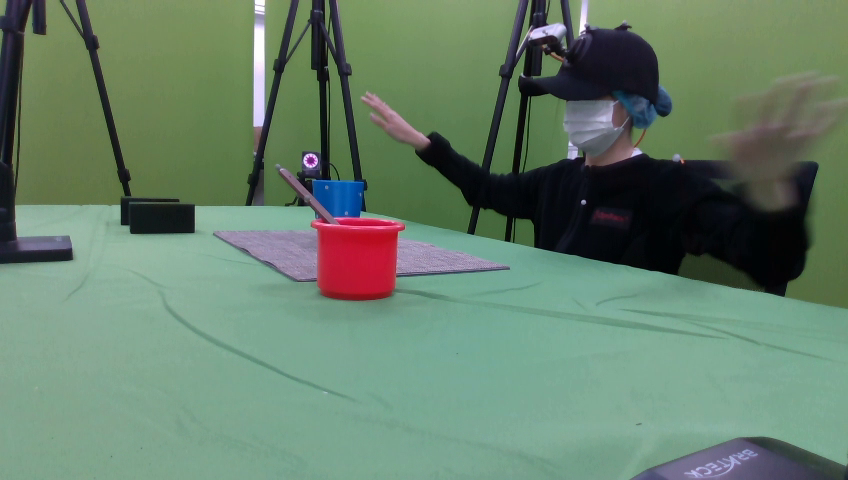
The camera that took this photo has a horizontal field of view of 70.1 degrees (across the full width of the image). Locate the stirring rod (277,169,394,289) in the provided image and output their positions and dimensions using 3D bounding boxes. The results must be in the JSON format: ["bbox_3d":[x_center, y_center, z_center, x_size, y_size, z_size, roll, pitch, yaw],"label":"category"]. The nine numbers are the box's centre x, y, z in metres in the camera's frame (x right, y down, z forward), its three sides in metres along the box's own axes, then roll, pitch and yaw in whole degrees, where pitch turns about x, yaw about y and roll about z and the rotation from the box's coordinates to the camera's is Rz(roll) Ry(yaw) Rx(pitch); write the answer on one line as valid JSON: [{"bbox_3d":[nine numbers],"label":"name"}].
[{"bbox_3d":[-0.094,-0.013,0.639,0.176,0.006,0.014,46,22,7],"label":"stirring rod"}]

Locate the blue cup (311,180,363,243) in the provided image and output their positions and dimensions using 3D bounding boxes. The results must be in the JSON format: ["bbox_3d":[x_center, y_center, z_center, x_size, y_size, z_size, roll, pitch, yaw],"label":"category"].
[{"bbox_3d":[-0.144,-0.047,0.997,0.093,0.100,0.092,2,6,0],"label":"blue cup"}]
